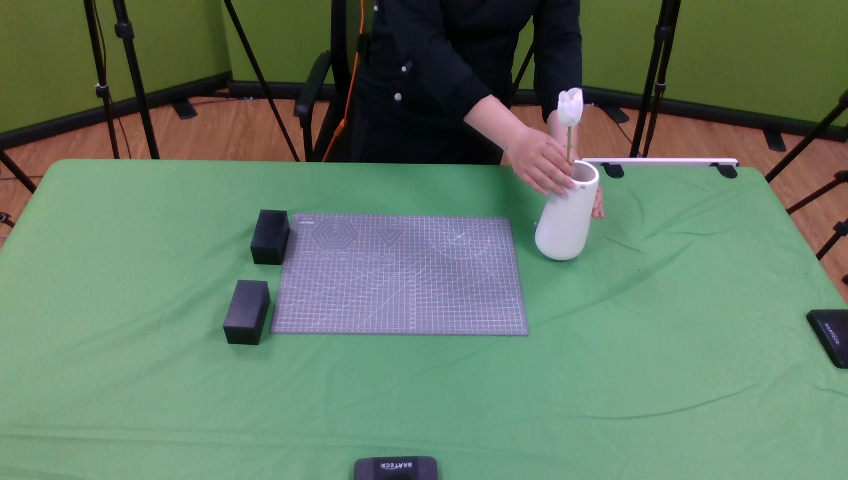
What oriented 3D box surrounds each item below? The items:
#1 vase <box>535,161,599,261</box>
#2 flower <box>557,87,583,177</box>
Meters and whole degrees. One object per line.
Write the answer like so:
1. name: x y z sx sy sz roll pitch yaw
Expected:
1. vase: 0.271 -0.052 1.145 0.098 0.201 0.097 1 46 -1
2. flower: 0.257 -0.121 1.071 0.038 0.364 0.044 31 66 30
